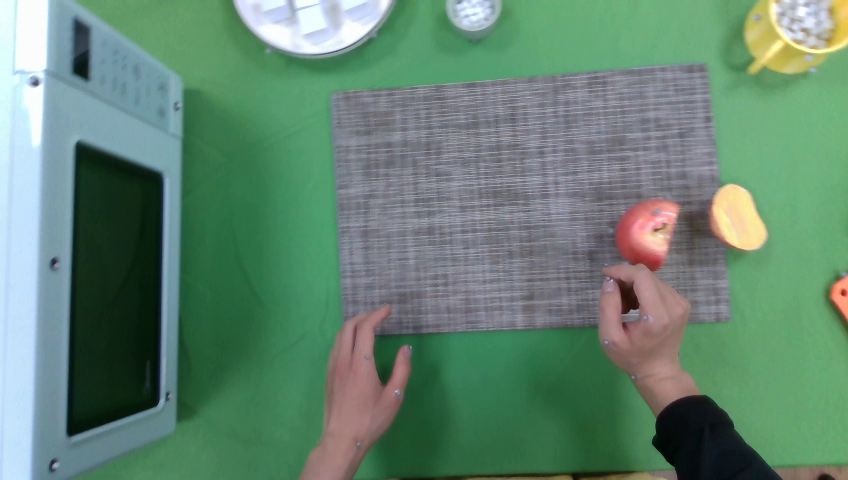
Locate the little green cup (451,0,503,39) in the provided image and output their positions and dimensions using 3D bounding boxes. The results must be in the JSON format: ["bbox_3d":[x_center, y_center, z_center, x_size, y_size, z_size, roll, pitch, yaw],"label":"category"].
[{"bbox_3d":[0.064,-0.273,0.724,0.061,0.039,0.061,0,86,5],"label":"little green cup"}]

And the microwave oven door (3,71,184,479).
[{"bbox_3d":[-0.319,0.041,0.615,0.039,0.244,0.355,0,86,5],"label":"microwave oven door"}]

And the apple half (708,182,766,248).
[{"bbox_3d":[0.342,-0.023,0.681,0.082,0.033,0.080,9,68,-23],"label":"apple half"}]

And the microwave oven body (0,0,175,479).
[{"bbox_3d":[-0.464,-0.001,0.635,0.326,0.260,0.441,0,87,4],"label":"microwave oven body"}]

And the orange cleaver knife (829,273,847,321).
[{"bbox_3d":[0.517,0.126,0.671,0.077,0.012,0.210,-17,83,-3],"label":"orange cleaver knife"}]

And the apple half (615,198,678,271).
[{"bbox_3d":[0.241,-0.010,0.672,0.053,0.075,0.081,16,91,10],"label":"apple half"}]

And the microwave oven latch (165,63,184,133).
[{"bbox_3d":[-0.307,-0.170,0.729,0.030,0.029,0.079,1,87,4],"label":"microwave oven latch"}]

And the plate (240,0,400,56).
[{"bbox_3d":[-0.123,-0.323,0.743,0.207,0.039,0.207,0,86,5],"label":"plate"}]

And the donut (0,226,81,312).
[{"bbox_3d":[-0.433,0.033,0.674,0.099,0.048,0.099,1,99,5],"label":"donut"}]

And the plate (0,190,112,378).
[{"bbox_3d":[-0.449,0.049,0.683,0.209,0.038,0.208,0,85,3],"label":"plate"}]

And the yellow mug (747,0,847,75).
[{"bbox_3d":[0.417,-0.236,0.679,0.131,0.064,0.099,-45,84,2],"label":"yellow mug"}]
